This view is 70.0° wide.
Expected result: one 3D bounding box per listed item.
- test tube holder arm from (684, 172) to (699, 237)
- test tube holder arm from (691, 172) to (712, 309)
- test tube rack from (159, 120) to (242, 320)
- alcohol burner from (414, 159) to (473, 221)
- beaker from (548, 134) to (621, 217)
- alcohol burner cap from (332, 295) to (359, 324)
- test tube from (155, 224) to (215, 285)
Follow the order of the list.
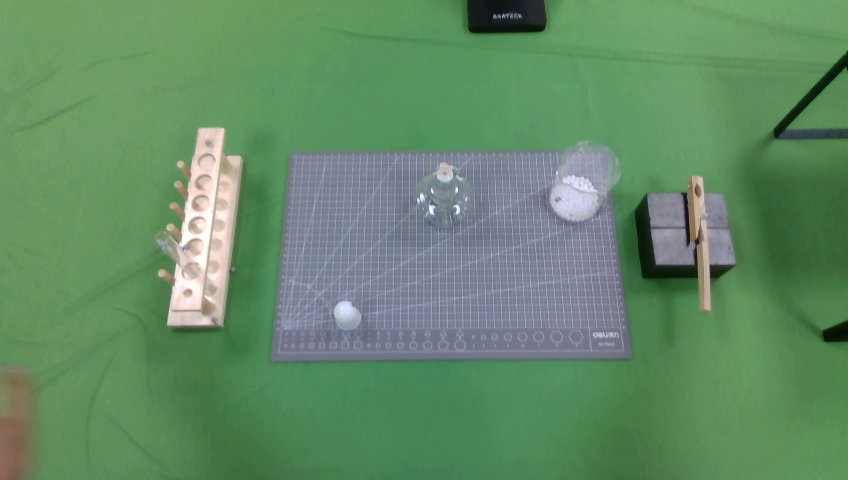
[{"bbox_3d":[0.340,-0.045,0.769,0.010,0.015,0.087,3,71,0],"label":"test tube holder arm"},{"bbox_3d":[0.344,-0.003,0.754,0.013,0.015,0.177,2,71,-1],"label":"test tube holder arm"},{"bbox_3d":[-0.288,-0.026,0.772,0.067,0.086,0.240,0,69,0],"label":"test tube rack"},{"bbox_3d":[0.025,-0.071,0.774,0.078,0.120,0.077,-1,70,2],"label":"alcohol burner"},{"bbox_3d":[0.201,-0.078,0.786,0.084,0.101,0.073,-22,70,-7],"label":"beaker"},{"bbox_3d":[-0.099,0.084,0.753,0.034,0.048,0.033,1,69,-1],"label":"alcohol burner cap"},{"bbox_3d":[-0.273,0.020,0.702,0.017,0.151,0.017,-1,65,1],"label":"test tube"}]
